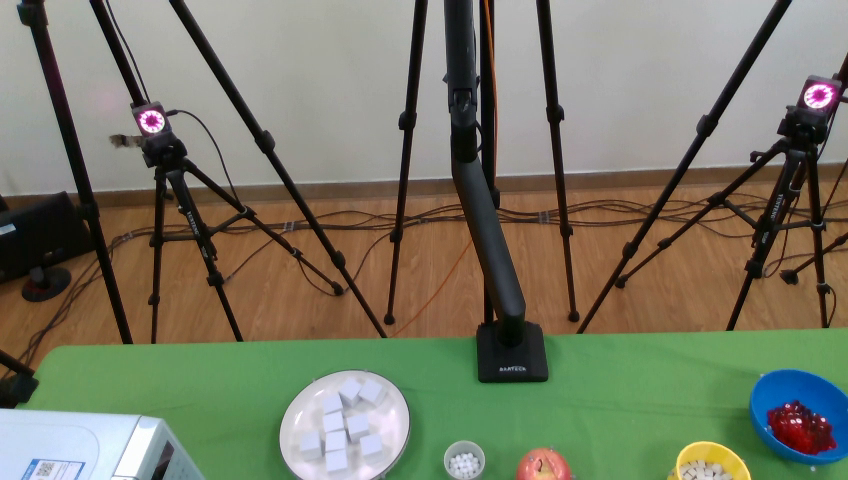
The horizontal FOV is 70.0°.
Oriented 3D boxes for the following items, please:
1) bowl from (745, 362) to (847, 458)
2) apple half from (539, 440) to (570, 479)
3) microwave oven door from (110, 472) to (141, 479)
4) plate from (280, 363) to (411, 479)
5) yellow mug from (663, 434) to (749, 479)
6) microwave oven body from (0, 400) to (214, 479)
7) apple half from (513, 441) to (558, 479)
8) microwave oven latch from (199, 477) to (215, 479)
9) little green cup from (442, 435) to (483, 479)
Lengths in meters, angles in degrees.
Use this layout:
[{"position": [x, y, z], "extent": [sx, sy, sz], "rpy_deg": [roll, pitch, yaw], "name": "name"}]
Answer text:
[{"position": [0.556, 0.267, 0.911], "extent": [0.151, 0.077, 0.150], "rpy_deg": [-3, 45, 3], "name": "bowl"}, {"position": [0.194, 0.328, 0.883], "extent": [0.033, 0.082, 0.080], "rpy_deg": [-19, 46, -8], "name": "apple half"}, {"position": [-0.347, 0.466, 0.642], "extent": [0.039, 0.246, 0.352], "rpy_deg": [1, 45, 6], "name": "microwave oven door"}, {"position": [-0.123, 0.294, 0.971], "extent": [0.207, 0.039, 0.205], "rpy_deg": [-2, 44, 3], "name": "plate"}, {"position": [0.386, 0.343, 0.858], "extent": [0.131, 0.064, 0.099], "rpy_deg": [-25, 48, -18], "name": "yellow mug"}, {"position": [-0.488, 0.439, 0.690], "extent": [0.326, 0.263, 0.437], "rpy_deg": [1, 45, 6], "name": "microwave oven body"}, {"position": [0.157, 0.340, 0.876], "extent": [0.053, 0.075, 0.080], "rpy_deg": [-19, 49, -7], "name": "apple half"}, {"position": [-0.319, 0.385, 0.868], "extent": [0.030, 0.030, 0.078], "rpy_deg": [3, 46, 8], "name": "microwave oven latch"}, {"position": [0.060, 0.331, 0.918], "extent": [0.061, 0.039, 0.061], "rpy_deg": [-3, 44, 3], "name": "little green cup"}]
